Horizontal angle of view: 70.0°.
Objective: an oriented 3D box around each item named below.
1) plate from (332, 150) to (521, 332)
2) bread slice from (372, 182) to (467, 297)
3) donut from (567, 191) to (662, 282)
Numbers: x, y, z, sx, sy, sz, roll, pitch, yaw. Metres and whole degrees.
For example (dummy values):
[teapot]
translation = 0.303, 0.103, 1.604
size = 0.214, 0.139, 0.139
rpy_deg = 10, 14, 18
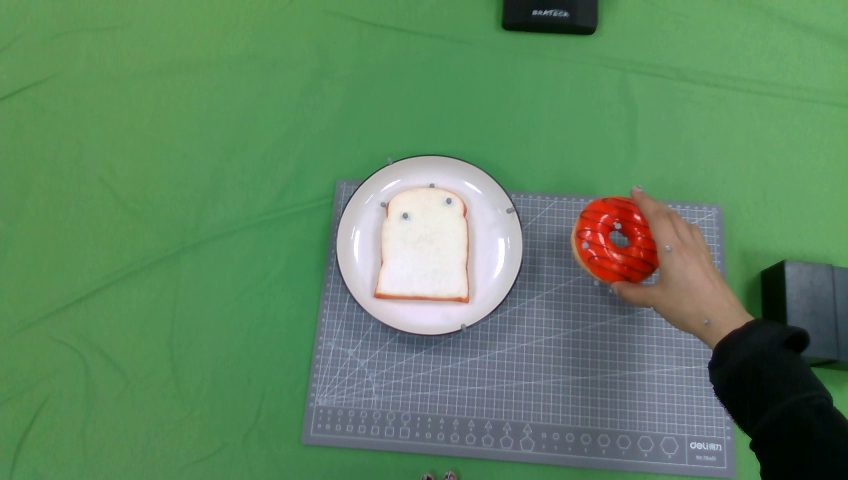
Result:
[plate]
translation = 0.003, 0.002, 0.676
size = 0.209, 0.038, 0.208
rpy_deg = 0, 74, 0
[bread slice]
translation = -0.004, -0.002, 0.679
size = 0.105, 0.019, 0.131
rpy_deg = 1, 74, 0
[donut]
translation = 0.199, -0.004, 0.634
size = 0.099, 0.048, 0.098
rpy_deg = 1, 73, -2
